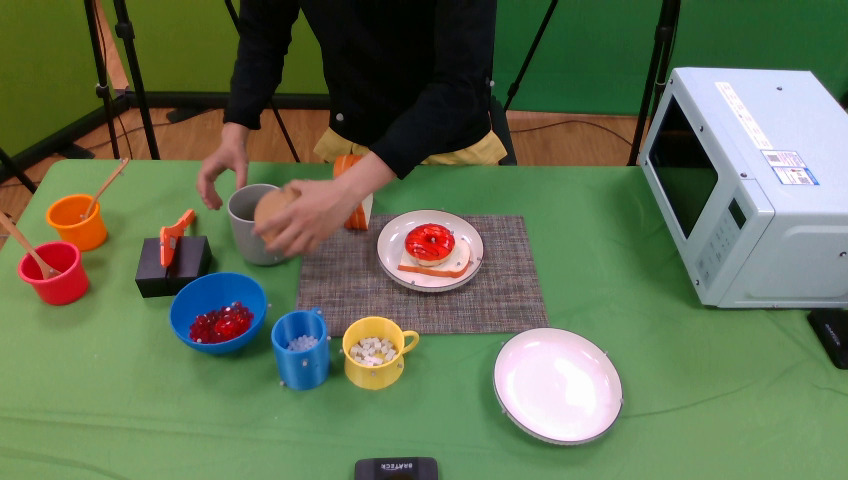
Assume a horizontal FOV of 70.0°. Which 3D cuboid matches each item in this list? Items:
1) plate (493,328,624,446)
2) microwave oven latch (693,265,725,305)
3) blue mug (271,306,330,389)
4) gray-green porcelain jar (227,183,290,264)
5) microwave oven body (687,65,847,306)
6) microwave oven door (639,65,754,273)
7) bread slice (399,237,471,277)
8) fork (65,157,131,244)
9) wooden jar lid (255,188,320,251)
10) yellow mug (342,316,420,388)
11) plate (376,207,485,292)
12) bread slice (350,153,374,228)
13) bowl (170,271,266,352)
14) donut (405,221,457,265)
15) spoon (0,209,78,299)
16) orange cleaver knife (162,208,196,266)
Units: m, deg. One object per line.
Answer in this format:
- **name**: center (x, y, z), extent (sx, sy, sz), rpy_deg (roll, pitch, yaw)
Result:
- **plate**: center (0.213, 0.236, 0.974), extent (0.208, 0.039, 0.206), rpy_deg (2, 46, -2)
- **microwave oven latch**: center (0.522, 0.081, 1.115), extent (0.030, 0.029, 0.078), rpy_deg (2, 46, -1)
- **blue mug**: center (-0.188, 0.163, 0.969), extent (0.082, 0.106, 0.116), rpy_deg (15, 47, 10)
- **gray-green porcelain jar**: center (-0.299, -0.026, 1.126), extent (0.106, 0.127, 0.105), rpy_deg (2, 47, -2)
- **microwave oven body**: center (0.669, -0.111, 1.176), extent (0.326, 0.261, 0.439), rpy_deg (0, 46, -3)
- **microwave oven door**: center (0.522, -0.147, 1.192), extent (0.039, 0.245, 0.353), rpy_deg (0, 47, -3)
- **bread slice**: center (0.025, 0.024, 1.161), extent (0.131, 0.019, 0.104), rpy_deg (7, 47, 7)
- **fork**: center (-0.608, -0.074, 1.132), extent (0.207, 0.019, 0.028), rpy_deg (-52, 49, 10)
- **wooden jar lid**: center (-0.231, -0.034, 1.027), extent (0.109, 0.020, 0.108), rpy_deg (5, 77, -21)
- **yellow mug**: center (-0.068, 0.177, 0.990), extent (0.131, 0.064, 0.099), rpy_deg (-15, 50, -19)
- **plate**: center (0.012, 0.021, 1.158), extent (0.209, 0.038, 0.208), rpy_deg (2, 47, -2)
- **bread slice**: center (-0.123, -0.104, 1.207), extent (0.018, 0.135, 0.106), rpy_deg (-1, 48, 7)
- **bowl**: center (-0.333, 0.132, 1.006), extent (0.151, 0.077, 0.150), rpy_deg (2, 46, -2)
- **donut**: center (0.013, 0.004, 1.136), extent (0.099, 0.048, 0.098), rpy_deg (0, 46, 0)
- **spoon**: center (-0.668, 0.022, 1.040), extent (0.041, 0.021, 0.194), rpy_deg (-41, 105, -29)
- **orange cleaver knife**: center (-0.454, -0.010, 1.129), extent (0.012, 0.077, 0.210), rpy_deg (-1, 17, -6)
